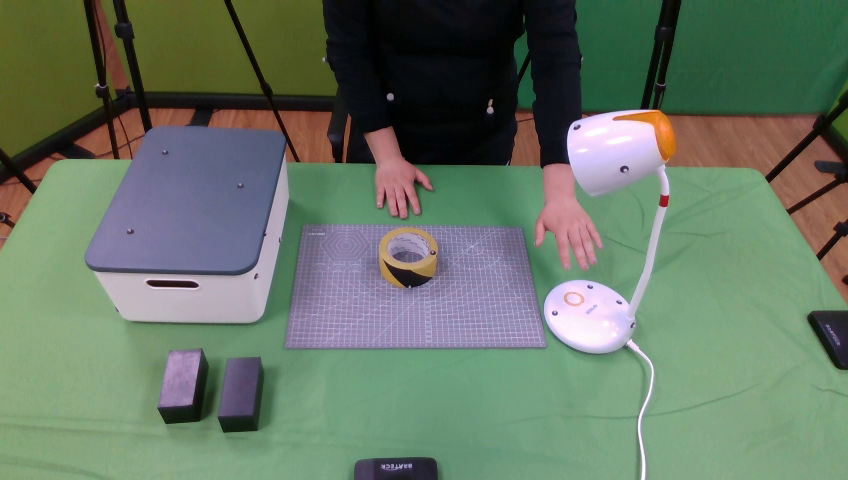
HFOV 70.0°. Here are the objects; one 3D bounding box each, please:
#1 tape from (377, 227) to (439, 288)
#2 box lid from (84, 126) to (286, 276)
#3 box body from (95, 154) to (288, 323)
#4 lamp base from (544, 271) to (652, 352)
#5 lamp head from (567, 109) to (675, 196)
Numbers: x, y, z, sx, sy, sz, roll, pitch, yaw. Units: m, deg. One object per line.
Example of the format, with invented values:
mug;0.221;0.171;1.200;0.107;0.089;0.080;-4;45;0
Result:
tape;-0.031;0.032;1.140;0.117;0.053;0.116;2;46;-2
box lid;-0.393;-0.081;1.046;0.263;0.015;0.369;2;46;-3
box body;-0.396;-0.031;1.100;0.254;0.161;0.361;1;46;-3
lamp base;0.309;0.086;1.029;0.178;0.181;0.160;32;52;21
lamp head;0.272;-0.123;0.818;0.122;0.113;0.112;-9;35;37
